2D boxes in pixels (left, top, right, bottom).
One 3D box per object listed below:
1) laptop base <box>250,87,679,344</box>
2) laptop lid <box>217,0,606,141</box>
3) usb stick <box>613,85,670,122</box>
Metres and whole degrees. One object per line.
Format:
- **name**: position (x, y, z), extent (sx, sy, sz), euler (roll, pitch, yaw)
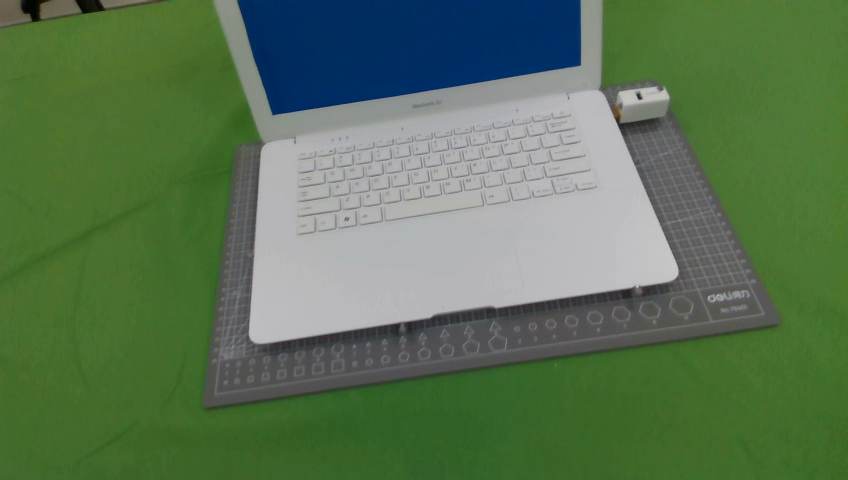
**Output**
- **laptop base**: position (0.021, -0.032, 0.558), extent (0.354, 0.023, 0.233), euler (-9, 56, 2)
- **laptop lid**: position (-0.008, -0.220, 0.558), extent (0.357, 0.244, 0.013), euler (-10, 36, 3)
- **usb stick**: position (0.205, -0.132, 0.589), extent (0.059, 0.027, 0.021), euler (-9, 54, 4)
